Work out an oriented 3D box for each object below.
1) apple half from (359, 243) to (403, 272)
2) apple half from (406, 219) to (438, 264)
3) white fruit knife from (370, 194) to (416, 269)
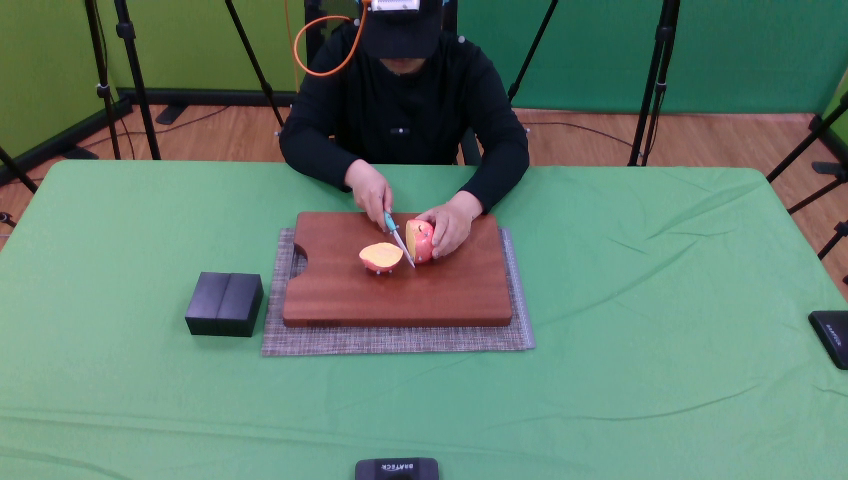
[{"bbox_3d":[-0.076,0.037,1.110,0.081,0.033,0.081,1,30,-1],"label":"apple half"},{"bbox_3d":[-0.001,0.003,1.121,0.053,0.075,0.080,-6,43,-14],"label":"apple half"},{"bbox_3d":[-0.059,-0.020,1.160,0.016,0.027,0.206,-19,53,-18],"label":"white fruit knife"}]
